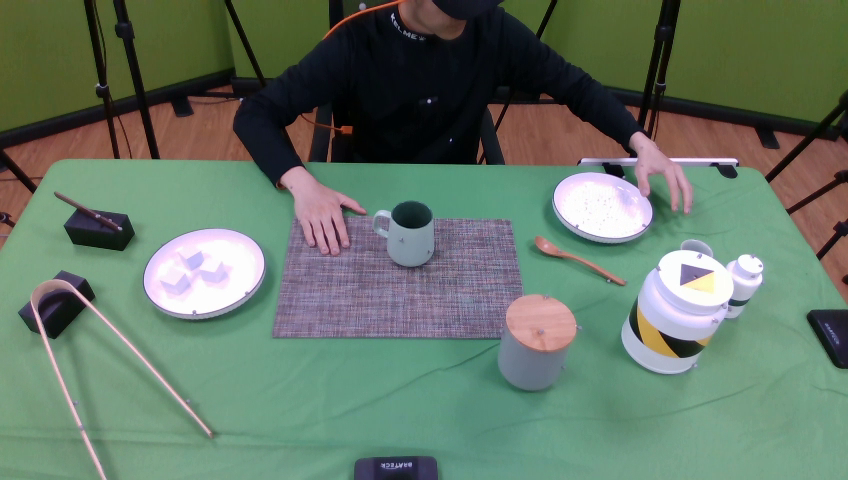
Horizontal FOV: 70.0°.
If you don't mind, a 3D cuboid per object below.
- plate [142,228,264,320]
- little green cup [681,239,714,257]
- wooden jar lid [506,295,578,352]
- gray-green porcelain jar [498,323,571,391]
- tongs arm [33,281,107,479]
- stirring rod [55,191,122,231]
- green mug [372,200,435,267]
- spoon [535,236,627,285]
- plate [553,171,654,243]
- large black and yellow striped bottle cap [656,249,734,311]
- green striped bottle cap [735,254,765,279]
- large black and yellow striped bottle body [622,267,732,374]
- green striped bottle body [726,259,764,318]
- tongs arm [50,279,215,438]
[{"bbox_3d":[-0.394,0.064,1.095,0.208,0.039,0.206,2,46,-2],"label":"plate"},{"bbox_3d":[0.530,0.033,1.190,0.061,0.039,0.061,2,47,-2],"label":"little green cup"},{"bbox_3d":[0.179,0.129,0.926,0.108,0.021,0.107,2,43,-2],"label":"wooden jar lid"},{"bbox_3d":[0.176,0.172,0.971,0.106,0.127,0.105,2,46,-2],"label":"gray-green porcelain jar"},{"bbox_3d":[-0.517,0.214,0.910,0.051,0.026,0.383,-28,63,-27],"label":"tongs arm"},{"bbox_3d":[-0.632,-0.055,1.138,0.175,0.014,0.006,24,50,19],"label":"stirring rod"},{"bbox_3d":[-0.040,-0.016,1.146,0.125,0.105,0.092,17,48,13],"label":"green mug"},{"bbox_3d":[0.303,0.040,1.178,0.193,0.022,0.041,25,30,20],"label":"spoon"},{"bbox_3d":[0.373,-0.066,1.275,0.209,0.038,0.208,2,46,-2],"label":"plate"},{"bbox_3d":[0.419,0.061,0.938,0.115,0.019,0.114,2,47,-2],"label":"large black and yellow striped bottle cap"},{"bbox_3d":[0.566,0.046,1.051,0.044,0.020,0.044,0,45,0],"label":"green striped bottle cap"},{"bbox_3d":[0.415,0.119,0.997,0.131,0.185,0.130,2,46,-2],"label":"large black and yellow striped bottle body"},{"bbox_3d":[0.563,0.081,1.089,0.063,0.120,0.063,2,46,-2],"label":"green striped bottle body"},{"bbox_3d":[-0.459,0.178,0.949,0.386,0.028,0.028,38,60,17],"label":"tongs arm"}]
